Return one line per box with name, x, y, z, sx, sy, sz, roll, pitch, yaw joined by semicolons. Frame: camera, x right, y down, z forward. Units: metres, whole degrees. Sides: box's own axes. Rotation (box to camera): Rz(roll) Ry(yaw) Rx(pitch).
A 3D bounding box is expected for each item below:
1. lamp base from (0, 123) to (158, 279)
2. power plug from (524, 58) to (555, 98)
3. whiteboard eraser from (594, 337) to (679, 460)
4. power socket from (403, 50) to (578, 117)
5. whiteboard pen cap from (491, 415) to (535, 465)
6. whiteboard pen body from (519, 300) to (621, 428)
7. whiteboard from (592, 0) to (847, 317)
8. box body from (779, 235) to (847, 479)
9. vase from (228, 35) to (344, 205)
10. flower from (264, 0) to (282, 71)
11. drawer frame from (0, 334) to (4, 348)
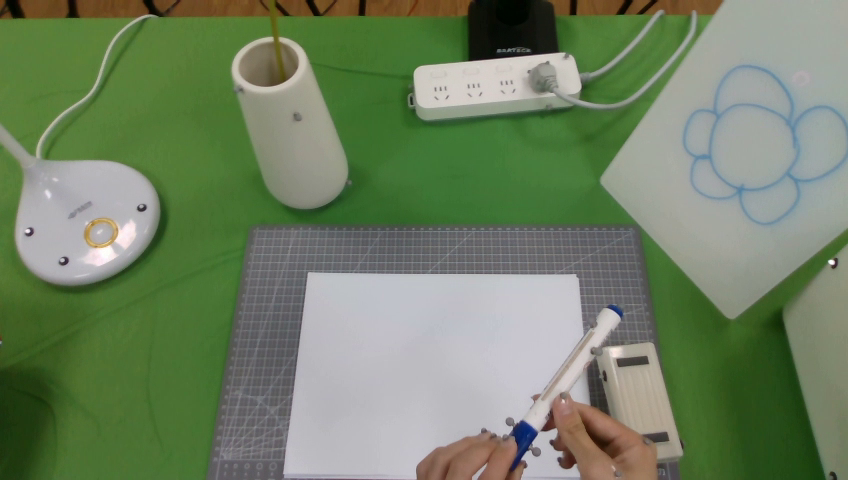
lamp base;-0.401;-0.069;0.633;0.178;0.182;0.160;30;67;18
power plug;0.140;-0.191;0.744;0.035;0.053;0.072;4;65;3
whiteboard eraser;0.204;0.153;0.588;0.055;0.042;0.111;-5;63;-3
power socket;0.087;-0.201;0.776;0.227;0.033;0.071;-5;64;-2
whiteboard pen cap;0.063;0.139;0.425;0.018;0.018;0.033;36;73;18
whiteboard pen body;0.101;0.098;0.444;0.017;0.017;0.140;36;71;18
whiteboard;0.355;-0.107;0.607;0.144;0.307;0.215;-21;62;-30
box body;0.491;0.174;0.510;0.254;0.161;0.361;-1;63;0
vase;-0.145;-0.120;0.646;0.098;0.201;0.097;-1;62;2
flower;-0.140;-0.174;0.581;0.038;0.365;0.043;-11;45;-12
drawer frame;-0.528;0.157;0.529;0.214;0.083;0.200;3;64;0
